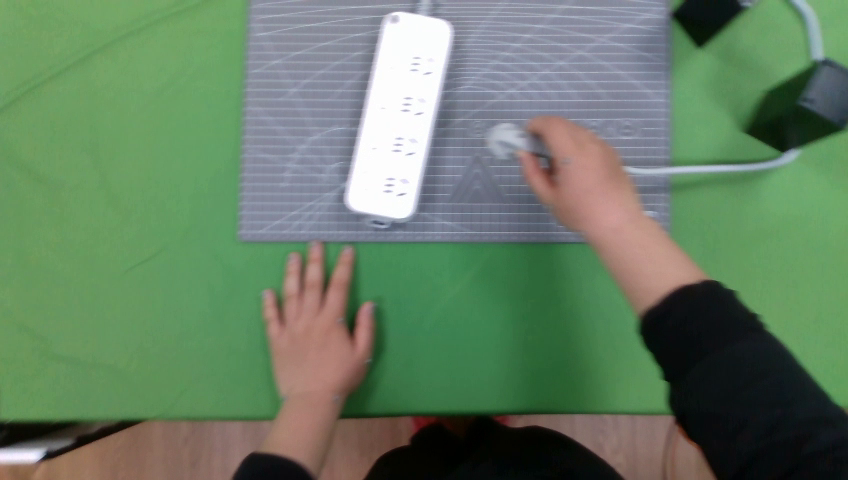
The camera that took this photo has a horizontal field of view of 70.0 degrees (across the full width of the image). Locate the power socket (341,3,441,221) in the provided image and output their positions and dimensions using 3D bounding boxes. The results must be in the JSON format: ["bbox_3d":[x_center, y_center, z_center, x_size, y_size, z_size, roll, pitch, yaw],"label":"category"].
[{"bbox_3d":[-0.033,-0.133,0.623,0.072,0.032,0.226,10,87,0],"label":"power socket"}]

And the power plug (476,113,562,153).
[{"bbox_3d":[0.083,-0.089,0.562,0.073,0.052,0.035,34,78,-19],"label":"power plug"}]
